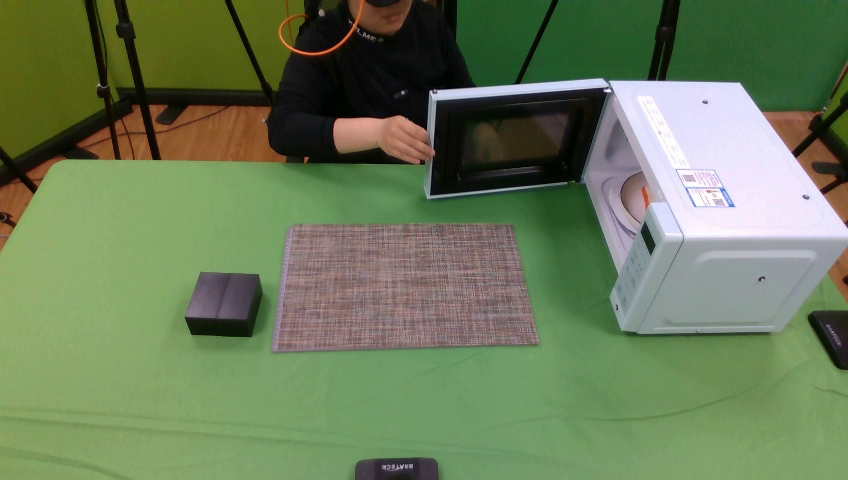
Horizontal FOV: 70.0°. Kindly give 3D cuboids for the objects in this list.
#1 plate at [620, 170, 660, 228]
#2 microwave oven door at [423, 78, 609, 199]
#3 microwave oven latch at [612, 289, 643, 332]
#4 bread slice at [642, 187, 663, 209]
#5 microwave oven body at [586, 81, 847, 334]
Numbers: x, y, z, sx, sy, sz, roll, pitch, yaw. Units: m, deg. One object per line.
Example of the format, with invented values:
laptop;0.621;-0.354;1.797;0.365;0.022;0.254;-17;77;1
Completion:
plate;0.490;-0.060;1.193;0.209;0.038;0.208;2;45;-2
microwave oven door;0.180;-0.204;1.232;0.356;0.245;0.039;-7;47;-11
microwave oven latch;0.357;0.124;1.068;0.030;0.029;0.078;0;45;-3
bread slice;0.493;-0.058;1.195;0.105;0.019;0.131;6;44;4
microwave oven body;0.501;-0.070;1.132;0.326;0.261;0.438;-1;45;-3
